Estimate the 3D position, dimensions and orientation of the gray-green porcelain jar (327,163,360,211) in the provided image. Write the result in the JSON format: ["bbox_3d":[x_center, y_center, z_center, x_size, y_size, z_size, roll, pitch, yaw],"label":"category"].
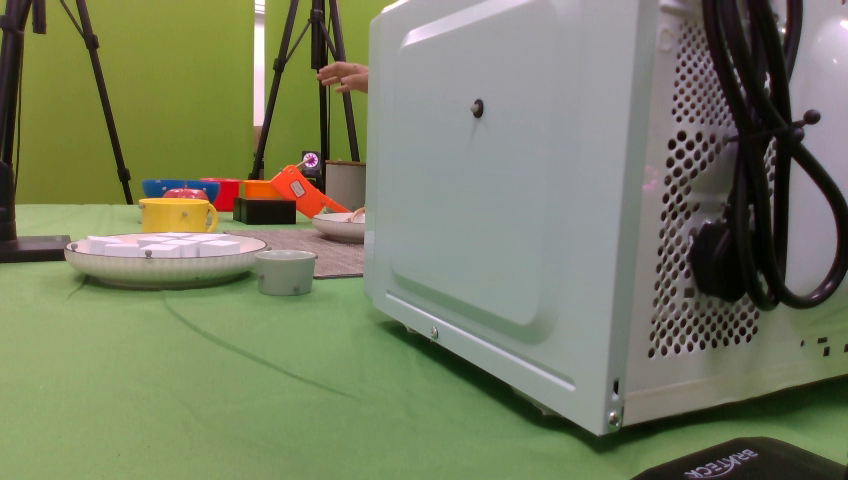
[{"bbox_3d":[-0.187,-0.125,1.490,0.106,0.126,0.106,2,7,0],"label":"gray-green porcelain jar"}]

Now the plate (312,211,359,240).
[{"bbox_3d":[-0.091,-0.026,1.063,0.209,0.038,0.209,2,7,0],"label":"plate"}]

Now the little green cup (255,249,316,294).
[{"bbox_3d":[-0.144,0.032,0.627,0.061,0.038,0.061,4,7,0],"label":"little green cup"}]

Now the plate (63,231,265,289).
[{"bbox_3d":[-0.288,0.021,0.687,0.208,0.039,0.207,2,8,0],"label":"plate"}]

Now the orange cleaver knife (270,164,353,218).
[{"bbox_3d":[-0.240,-0.088,1.329,0.212,0.077,0.012,36,-9,-33],"label":"orange cleaver knife"}]

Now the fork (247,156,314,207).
[{"bbox_3d":[-0.360,-0.147,1.522,0.207,0.018,0.028,-43,12,-7],"label":"fork"}]

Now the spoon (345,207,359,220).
[{"bbox_3d":[-0.126,-0.047,1.116,0.041,0.021,0.194,-2,18,14],"label":"spoon"}]

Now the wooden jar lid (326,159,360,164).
[{"bbox_3d":[-0.185,-0.187,1.481,0.108,0.020,0.108,4,6,0],"label":"wooden jar lid"}]

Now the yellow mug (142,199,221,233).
[{"bbox_3d":[-0.372,-0.030,0.948,0.099,0.064,0.131,6,7,30],"label":"yellow mug"}]

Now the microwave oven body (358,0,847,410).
[{"bbox_3d":[0.210,-0.051,0.471,0.444,0.260,0.324,-1,7,-28],"label":"microwave oven body"}]

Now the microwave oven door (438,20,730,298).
[{"bbox_3d":[0.181,-0.076,0.618,0.358,0.243,0.039,-2,8,-28],"label":"microwave oven door"}]

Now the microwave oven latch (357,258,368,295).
[{"bbox_3d":[-0.019,0.031,0.530,0.079,0.029,0.030,-1,7,-27],"label":"microwave oven latch"}]

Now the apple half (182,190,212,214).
[{"bbox_3d":[-0.402,-0.054,1.090,0.033,0.081,0.081,0,7,12],"label":"apple half"}]

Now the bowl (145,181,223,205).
[{"bbox_3d":[-0.499,-0.081,1.261,0.151,0.077,0.151,2,8,0],"label":"bowl"}]

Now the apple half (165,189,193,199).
[{"bbox_3d":[-0.441,-0.055,1.097,0.053,0.074,0.081,0,10,12],"label":"apple half"}]
